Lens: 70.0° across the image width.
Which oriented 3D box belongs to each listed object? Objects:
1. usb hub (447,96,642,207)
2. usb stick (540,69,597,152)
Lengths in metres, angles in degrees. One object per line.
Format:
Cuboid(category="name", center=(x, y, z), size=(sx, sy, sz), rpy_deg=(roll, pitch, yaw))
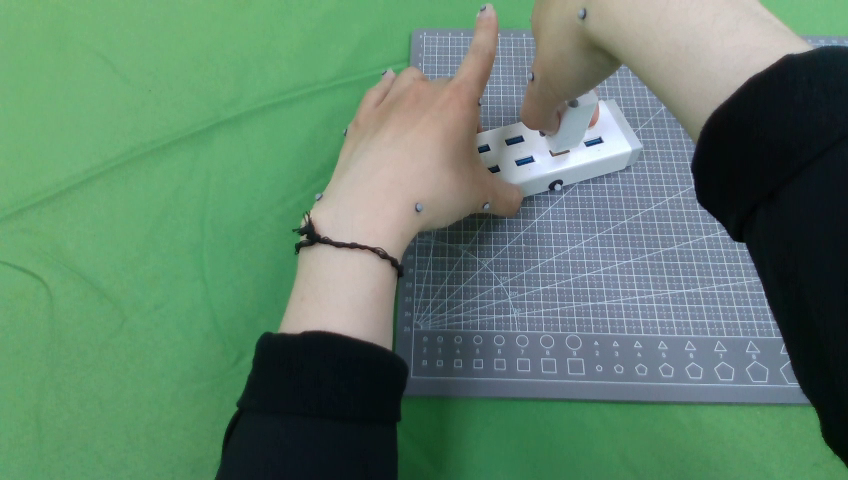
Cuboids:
Cuboid(category="usb hub", center=(0.082, -0.063, 0.420), size=(0.125, 0.025, 0.049), rpy_deg=(-15, 63, -9))
Cuboid(category="usb stick", center=(0.090, -0.079, 0.388), size=(0.021, 0.059, 0.027), rpy_deg=(-20, 62, -10))
